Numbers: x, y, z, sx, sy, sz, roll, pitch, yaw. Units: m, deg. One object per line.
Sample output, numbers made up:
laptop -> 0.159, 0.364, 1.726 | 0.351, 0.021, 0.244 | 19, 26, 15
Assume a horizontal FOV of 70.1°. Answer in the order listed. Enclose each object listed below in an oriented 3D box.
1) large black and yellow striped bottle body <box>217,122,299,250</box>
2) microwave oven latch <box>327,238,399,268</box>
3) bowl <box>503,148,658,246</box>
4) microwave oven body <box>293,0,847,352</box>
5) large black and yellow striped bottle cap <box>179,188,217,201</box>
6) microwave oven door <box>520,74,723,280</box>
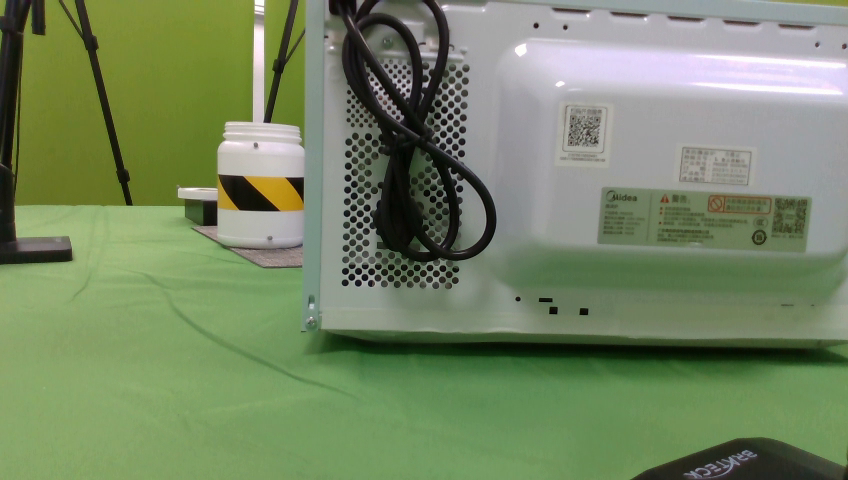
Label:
large black and yellow striped bottle body -> -0.250, -0.084, 0.931 | 0.131, 0.184, 0.130 | 2, 7, 0
microwave oven latch -> -0.069, 0.015, 0.694 | 0.079, 0.029, 0.030 | 3, 7, -3
bowl -> 0.154, -0.036, 0.606 | 0.151, 0.076, 0.151 | 4, -6, 1
microwave oven body -> 0.122, -0.055, 0.550 | 0.442, 0.260, 0.325 | 3, 7, -5
large black and yellow striped bottle cap -> -0.434, -0.093, 1.226 | 0.115, 0.019, 0.115 | 3, 9, 0
microwave oven door -> 0.255, -0.094, 0.863 | 0.039, 0.243, 0.354 | -1, 8, -25
